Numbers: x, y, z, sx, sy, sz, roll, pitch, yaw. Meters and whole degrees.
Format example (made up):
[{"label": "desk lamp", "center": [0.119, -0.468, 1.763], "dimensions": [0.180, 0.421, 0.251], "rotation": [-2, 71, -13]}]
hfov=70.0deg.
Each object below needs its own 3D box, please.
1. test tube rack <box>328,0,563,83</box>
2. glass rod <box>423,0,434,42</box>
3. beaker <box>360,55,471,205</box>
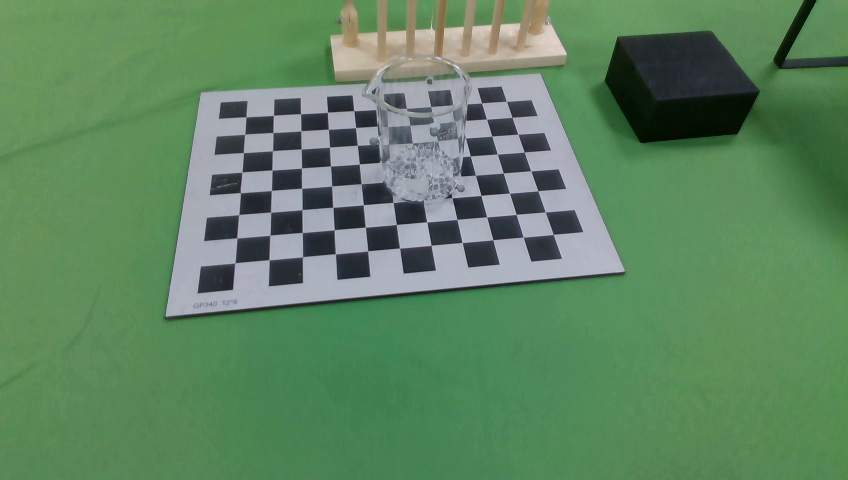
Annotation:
[{"label": "test tube rack", "center": [0.023, -0.224, 0.618], "dimensions": [0.243, 0.086, 0.066], "rotation": [-6, 51, -8]}, {"label": "glass rod", "center": [0.015, -0.284, 0.581], "dimensions": [0.008, 0.201, 0.008], "rotation": [5, 45, -5]}, {"label": "beaker", "center": [-0.007, -0.083, 0.486], "dimensions": [0.084, 0.101, 0.073], "rotation": [-5, 50, -5]}]
